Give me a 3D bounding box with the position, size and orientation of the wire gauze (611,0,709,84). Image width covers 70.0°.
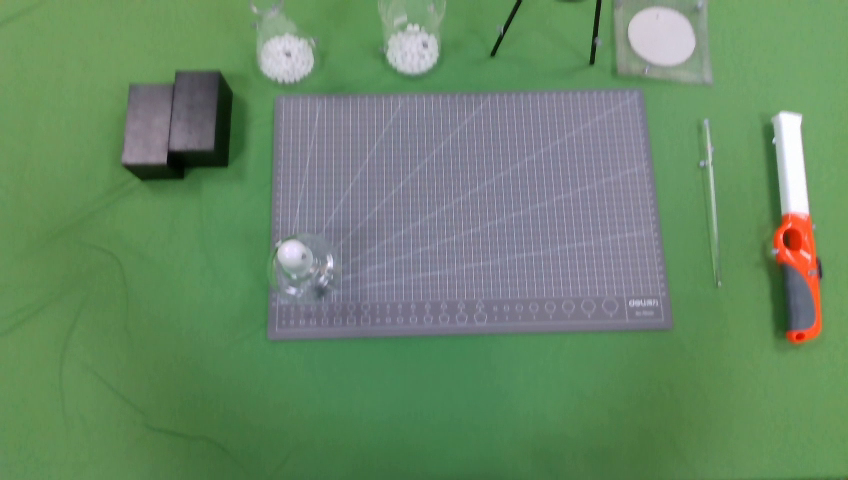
[{"bbox_3d":[0.299,-0.260,0.767,0.125,0.011,0.121,5,76,-2],"label":"wire gauze"}]

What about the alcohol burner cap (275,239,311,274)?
[{"bbox_3d":[-0.130,0.014,0.596,0.034,0.048,0.033,1,80,-4],"label":"alcohol burner cap"}]

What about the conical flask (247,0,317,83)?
[{"bbox_3d":[-0.169,-0.240,0.694,0.075,0.122,0.075,0,75,0],"label":"conical flask"}]

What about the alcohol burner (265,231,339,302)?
[{"bbox_3d":[-0.130,0.024,0.630,0.078,0.119,0.077,0,75,1],"label":"alcohol burner"}]

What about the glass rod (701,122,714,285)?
[{"bbox_3d":[0.334,-0.046,0.714,0.008,0.008,0.199,3,79,-1],"label":"glass rod"}]

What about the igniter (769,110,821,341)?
[{"bbox_3d":[0.426,-0.020,0.700,0.057,0.025,0.275,7,76,-10],"label":"igniter"}]

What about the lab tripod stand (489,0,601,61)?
[{"bbox_3d":[0.149,-0.280,0.704,0.148,0.132,0.147,0,78,0],"label":"lab tripod stand"}]

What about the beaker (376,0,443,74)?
[{"bbox_3d":[-0.014,-0.251,0.712,0.084,0.100,0.073,-39,80,-10],"label":"beaker"}]
